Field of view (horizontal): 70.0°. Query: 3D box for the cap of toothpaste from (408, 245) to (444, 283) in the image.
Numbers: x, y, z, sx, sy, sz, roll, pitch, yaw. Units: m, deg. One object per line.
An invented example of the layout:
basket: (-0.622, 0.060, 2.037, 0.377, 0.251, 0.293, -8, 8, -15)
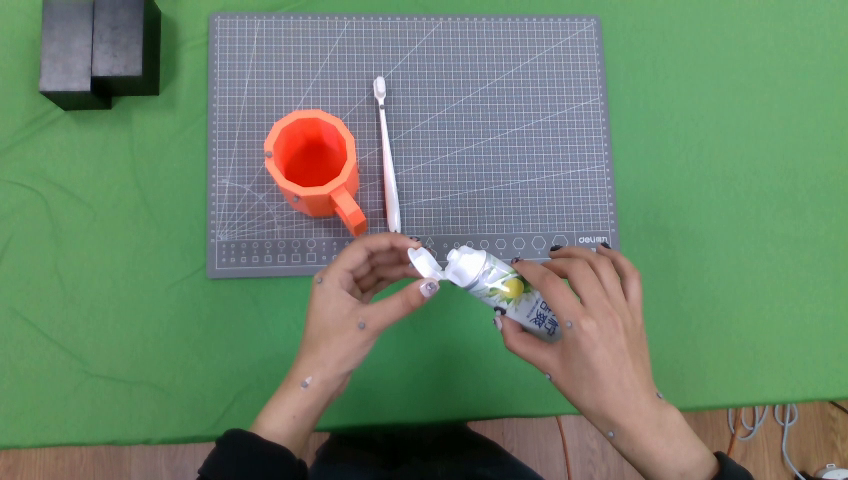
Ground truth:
cap of toothpaste: (0.002, 0.017, 0.476, 0.011, 0.037, 0.037, -40, 86, 18)

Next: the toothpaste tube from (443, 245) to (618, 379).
toothpaste tube: (0.084, 0.054, 0.494, 0.166, 0.034, 0.055, 32, 90, -14)

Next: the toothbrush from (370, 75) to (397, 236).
toothbrush: (-0.044, -0.094, 0.666, 0.014, 0.016, 0.181, -4, 83, -20)

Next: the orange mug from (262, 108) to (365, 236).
orange mug: (-0.103, -0.063, 0.615, 0.083, 0.101, 0.126, -36, 81, -9)
